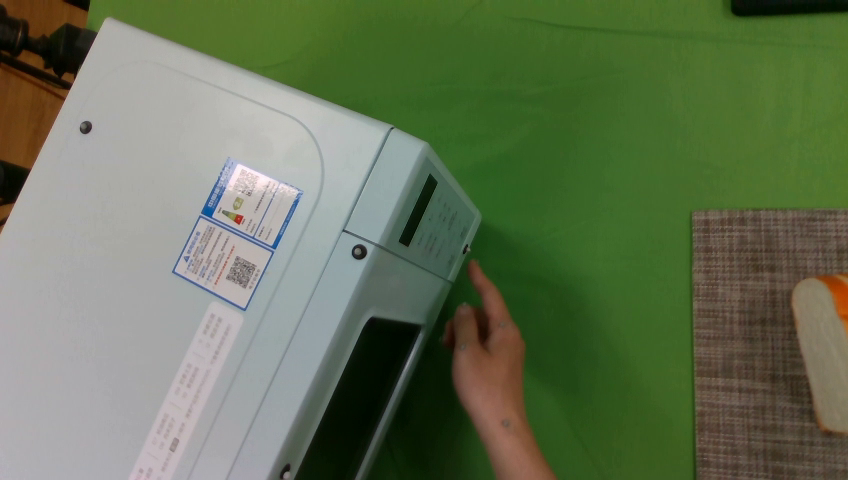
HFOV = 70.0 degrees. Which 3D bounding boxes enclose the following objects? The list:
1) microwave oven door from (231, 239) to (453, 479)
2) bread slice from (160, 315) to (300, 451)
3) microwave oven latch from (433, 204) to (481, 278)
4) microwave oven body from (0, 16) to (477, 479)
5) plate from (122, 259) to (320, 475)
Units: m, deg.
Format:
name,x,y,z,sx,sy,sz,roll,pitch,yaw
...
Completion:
name,x,y,z,sx,sy,sz,roll,pitch,yaw
microwave oven door,-0.087,0.179,0.509,0.039,0.245,0.355,23,87,18
bread slice,-0.196,0.151,0.606,0.134,0.018,0.106,-24,76,2
microwave oven latch,0.032,-0.002,0.614,0.030,0.029,0.079,25,88,17
microwave oven body,-0.196,0.086,0.558,0.324,0.261,0.441,24,88,17
plate,-0.199,0.123,0.607,0.207,0.039,0.207,-2,80,11
